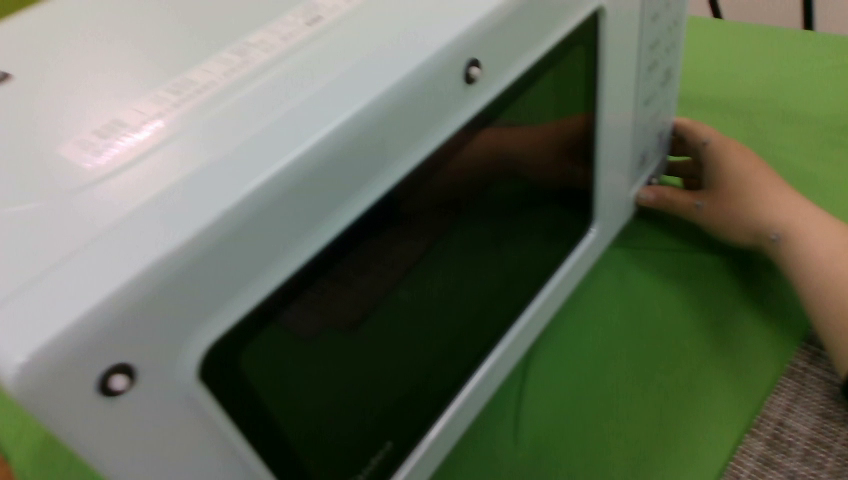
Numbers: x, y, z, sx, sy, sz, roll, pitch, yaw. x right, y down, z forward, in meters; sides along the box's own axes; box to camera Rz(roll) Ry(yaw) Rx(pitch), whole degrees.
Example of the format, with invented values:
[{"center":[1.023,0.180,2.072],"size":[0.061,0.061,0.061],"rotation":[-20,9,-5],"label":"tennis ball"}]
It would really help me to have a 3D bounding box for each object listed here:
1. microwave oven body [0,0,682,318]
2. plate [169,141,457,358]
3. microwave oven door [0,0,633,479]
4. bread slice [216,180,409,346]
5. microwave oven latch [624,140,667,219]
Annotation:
[{"center":[-0.069,-0.060,0.426],"size":[0.323,0.263,0.440],"rotation":[23,55,33],"label":"microwave oven body"},{"center":[-0.076,0.003,0.439],"size":[0.209,0.038,0.207],"rotation":[-8,42,8],"label":"plate"},{"center":[0.015,0.008,0.322],"size":[0.039,0.246,0.355],"rotation":[23,54,33],"label":"microwave oven door"},{"center":[-0.079,0.004,0.445],"size":[0.131,0.019,0.104],"rotation":[-41,50,-20],"label":"bread slice"},{"center":[0.172,-0.053,0.497],"size":[0.030,0.030,0.079],"rotation":[24,55,34],"label":"microwave oven latch"}]
